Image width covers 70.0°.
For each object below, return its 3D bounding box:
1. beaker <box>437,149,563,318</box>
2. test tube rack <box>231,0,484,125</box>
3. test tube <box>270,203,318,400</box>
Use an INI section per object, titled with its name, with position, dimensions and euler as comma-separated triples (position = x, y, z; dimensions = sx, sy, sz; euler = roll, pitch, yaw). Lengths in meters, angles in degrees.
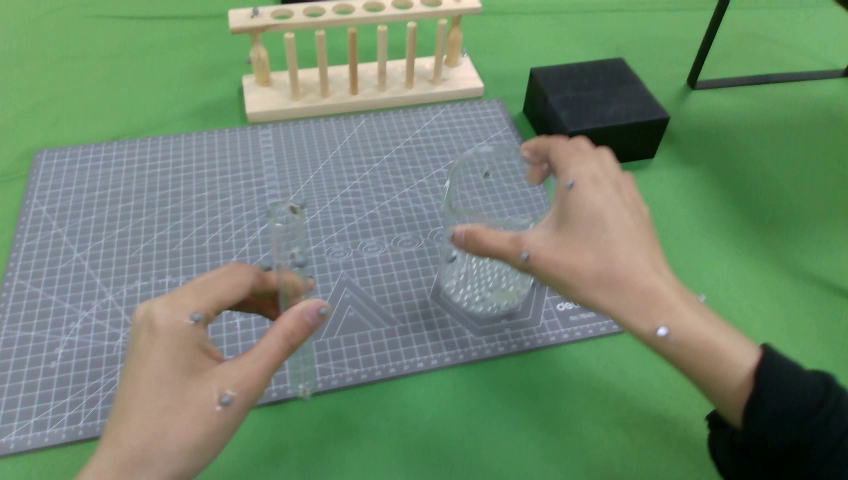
[beaker]
position = 0.045, 0.000, 0.417
dimensions = 0.084, 0.101, 0.073
euler = -18, 50, -21
[test tube rack]
position = -0.060, -0.185, 0.610
dimensions = 0.243, 0.086, 0.066
euler = -9, 50, -11
[test tube]
position = -0.067, 0.041, 0.320
dimensions = 0.017, 0.151, 0.017
euler = 4, 45, -3
